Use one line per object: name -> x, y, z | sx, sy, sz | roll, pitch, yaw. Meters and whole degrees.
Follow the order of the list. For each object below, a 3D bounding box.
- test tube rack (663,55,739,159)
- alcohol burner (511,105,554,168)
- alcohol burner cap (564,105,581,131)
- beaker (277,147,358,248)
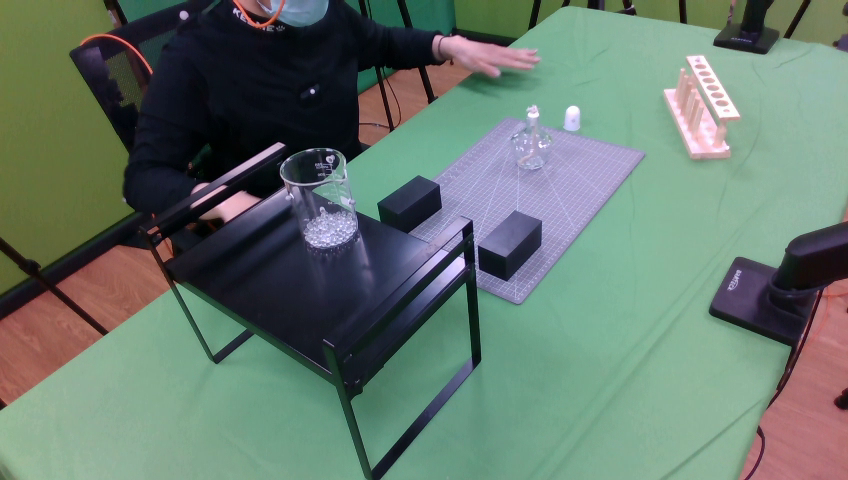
test tube rack -> 0.518, -0.256, 1.144 | 0.066, 0.085, 0.241 | -1, 41, 8
alcohol burner -> 0.195, -0.190, 1.088 | 0.078, 0.119, 0.077 | -3, 42, 3
alcohol burner cap -> 0.294, -0.243, 1.195 | 0.034, 0.048, 0.033 | -4, 40, 3
beaker -> -0.117, -0.046, 0.705 | 0.083, 0.101, 0.074 | 17, 47, 25
